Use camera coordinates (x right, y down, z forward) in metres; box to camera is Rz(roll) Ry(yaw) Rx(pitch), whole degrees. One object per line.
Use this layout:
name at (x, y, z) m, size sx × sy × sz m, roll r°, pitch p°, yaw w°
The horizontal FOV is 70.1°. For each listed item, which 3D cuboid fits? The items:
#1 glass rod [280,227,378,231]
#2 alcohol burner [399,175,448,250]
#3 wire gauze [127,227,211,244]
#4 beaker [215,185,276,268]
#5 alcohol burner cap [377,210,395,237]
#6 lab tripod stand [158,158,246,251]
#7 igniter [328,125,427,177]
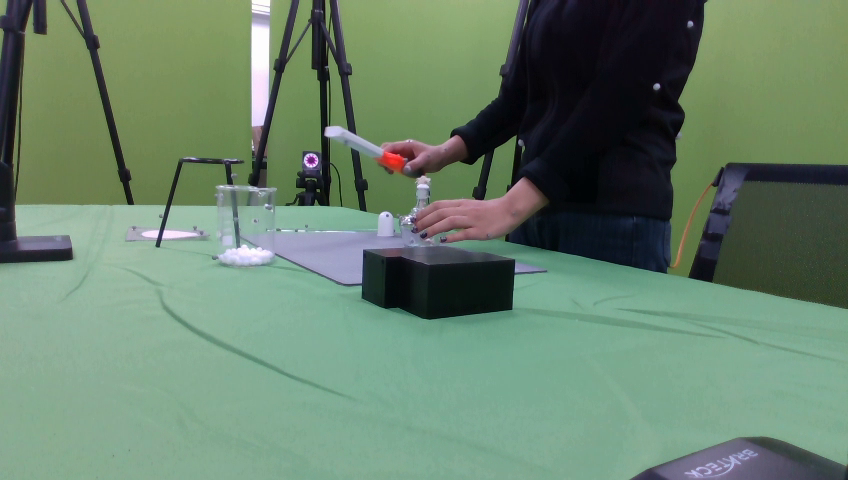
glass rod at (-0.175, -0.021, 1.161) m, size 0.200 × 0.008 × 0.008 m, roll 0°, pitch 7°, yaw -15°
alcohol burner at (-0.001, -0.044, 0.961) m, size 0.078 × 0.119 × 0.078 m, roll 0°, pitch 8°, yaw 0°
wire gauze at (-0.420, -0.010, 0.999) m, size 0.122 × 0.011 × 0.124 m, roll -2°, pitch 10°, yaw -24°
beaker at (-0.226, -0.019, 0.773) m, size 0.074 × 0.100 × 0.084 m, roll 5°, pitch 7°, yaw 14°
alcohol burner cap at (-0.069, -0.031, 1.113) m, size 0.034 × 0.048 × 0.034 m, roll 2°, pitch 9°, yaw 0°
lab tripod stand at (-0.314, -0.055, 0.891) m, size 0.148 × 0.131 × 0.148 m, roll 2°, pitch 9°, yaw 0°
igniter at (-0.078, -0.160, 1.120) m, size 0.057 × 0.025 × 0.278 m, roll 4°, pitch -7°, yaw 31°
